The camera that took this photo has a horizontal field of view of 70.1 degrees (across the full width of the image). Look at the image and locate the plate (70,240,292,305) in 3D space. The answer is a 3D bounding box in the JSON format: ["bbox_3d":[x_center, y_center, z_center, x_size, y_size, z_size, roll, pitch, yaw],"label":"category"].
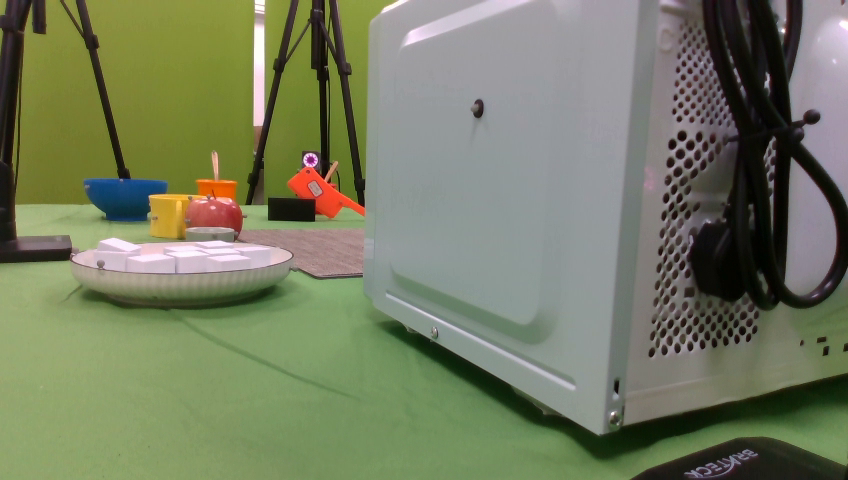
[{"bbox_3d":[-0.242,0.031,0.618,0.208,0.039,0.207,2,8,0],"label":"plate"}]

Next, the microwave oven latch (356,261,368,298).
[{"bbox_3d":[-0.020,0.033,0.530,0.079,0.029,0.030,0,7,-26],"label":"microwave oven latch"}]

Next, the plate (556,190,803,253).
[{"bbox_3d":[0.224,-0.018,0.554,0.209,0.038,0.209,6,6,0],"label":"plate"}]

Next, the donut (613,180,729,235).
[{"bbox_3d":[0.223,-0.028,0.551,0.099,0.048,0.099,5,2,0],"label":"donut"}]

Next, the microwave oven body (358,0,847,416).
[{"bbox_3d":[0.211,-0.047,0.475,0.444,0.260,0.324,-1,7,-28],"label":"microwave oven body"}]

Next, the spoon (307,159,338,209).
[{"bbox_3d":[-0.257,-0.147,1.567,0.041,0.022,0.193,1,50,20],"label":"spoon"}]

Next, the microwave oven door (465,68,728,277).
[{"bbox_3d":[0.207,-0.096,0.814,0.354,0.243,0.039,9,11,42],"label":"microwave oven door"}]

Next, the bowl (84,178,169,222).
[{"bbox_3d":[-0.584,-0.078,1.194,0.151,0.077,0.151,3,8,0],"label":"bowl"}]

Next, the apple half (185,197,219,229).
[{"bbox_3d":[-0.338,-0.031,0.927,0.032,0.081,0.081,12,12,31],"label":"apple half"}]

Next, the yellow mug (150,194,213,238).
[{"bbox_3d":[-0.401,-0.040,1.003,0.100,0.064,0.130,-1,9,-20],"label":"yellow mug"}]

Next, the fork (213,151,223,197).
[{"bbox_3d":[-0.493,-0.143,1.442,0.028,0.018,0.206,-4,53,-18],"label":"fork"}]

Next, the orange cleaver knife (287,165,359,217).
[{"bbox_3d":[-0.211,-0.092,1.382,0.212,0.077,0.012,34,1,-15],"label":"orange cleaver knife"}]

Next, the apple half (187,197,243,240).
[{"bbox_3d":[-0.305,-0.026,0.907,0.053,0.074,0.081,12,8,31],"label":"apple half"}]

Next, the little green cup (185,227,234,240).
[{"bbox_3d":[-0.285,0.005,0.805,0.061,0.038,0.061,2,8,0],"label":"little green cup"}]
